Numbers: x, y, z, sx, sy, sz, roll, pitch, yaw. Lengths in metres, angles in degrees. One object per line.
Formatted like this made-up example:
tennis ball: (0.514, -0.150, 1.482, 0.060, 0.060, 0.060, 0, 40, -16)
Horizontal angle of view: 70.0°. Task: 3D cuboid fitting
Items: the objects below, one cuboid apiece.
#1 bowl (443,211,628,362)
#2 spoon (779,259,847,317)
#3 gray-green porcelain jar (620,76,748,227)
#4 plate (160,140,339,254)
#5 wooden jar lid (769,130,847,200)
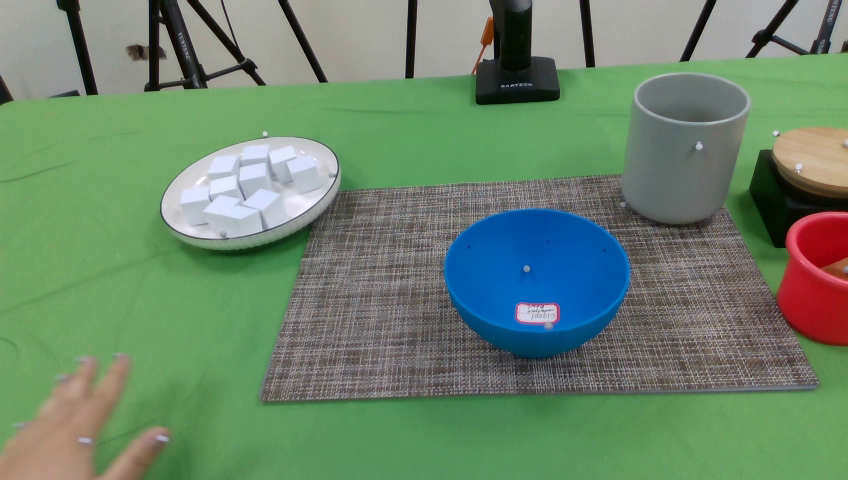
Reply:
bowl: (0.093, 0.050, 0.518, 0.151, 0.077, 0.150, -4, 40, 4)
spoon: (0.378, 0.000, 0.489, 0.022, 0.194, 0.041, 32, 27, -25)
gray-green porcelain jar: (0.257, -0.085, 0.616, 0.106, 0.128, 0.105, -4, 40, 4)
plate: (-0.201, -0.050, 0.715, 0.209, 0.038, 0.207, -5, 40, 4)
wooden jar lid: (0.396, -0.073, 0.592, 0.108, 0.021, 0.107, -5, 39, 4)
